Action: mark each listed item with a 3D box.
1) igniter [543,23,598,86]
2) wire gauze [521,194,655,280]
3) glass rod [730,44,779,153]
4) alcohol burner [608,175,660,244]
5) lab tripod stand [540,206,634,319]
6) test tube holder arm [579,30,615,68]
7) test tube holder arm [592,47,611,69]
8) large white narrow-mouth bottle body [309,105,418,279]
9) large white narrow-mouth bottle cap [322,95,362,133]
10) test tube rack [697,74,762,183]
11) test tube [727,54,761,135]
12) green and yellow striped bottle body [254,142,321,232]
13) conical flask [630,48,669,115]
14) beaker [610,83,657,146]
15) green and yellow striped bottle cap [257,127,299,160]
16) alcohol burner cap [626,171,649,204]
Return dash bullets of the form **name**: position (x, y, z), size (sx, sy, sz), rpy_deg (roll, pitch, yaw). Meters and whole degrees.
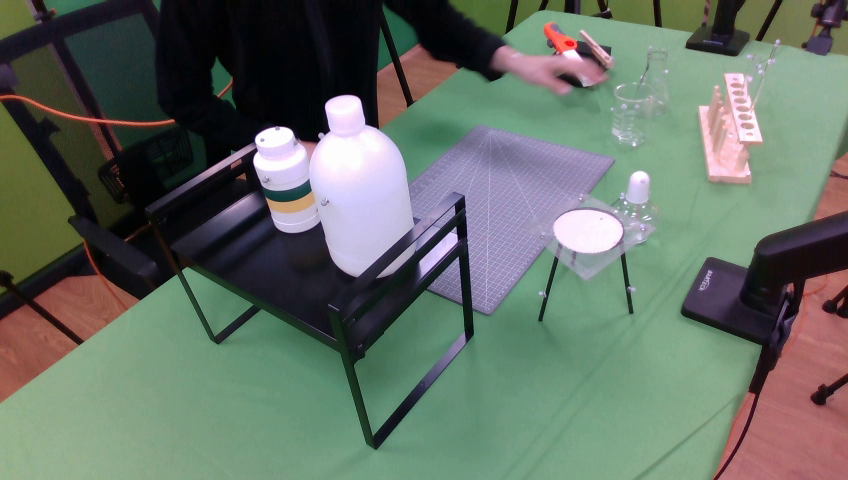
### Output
- **igniter**: position (0.320, -0.419, 1.345), size (0.057, 0.025, 0.274), rpy_deg (-12, 44, -3)
- **wire gauze**: position (0.207, -0.012, 0.772), size (0.122, 0.011, 0.124), rpy_deg (-28, 44, -20)
- **glass rod**: position (0.555, -0.234, 1.020), size (0.008, 0.200, 0.008), rpy_deg (2, 40, -1)
- **alcohol burner**: position (0.322, -0.053, 0.924), size (0.078, 0.119, 0.077), rpy_deg (-4, 43, 4)
- **lab tripod stand**: position (0.217, 0.034, 0.821), size (0.148, 0.132, 0.147), rpy_deg (-4, 42, 4)
- **test tube holder arm**: position (0.384, -0.428, 1.351), size (0.013, 0.015, 0.177), rpy_deg (-11, 41, -4)
- **test tube holder arm**: position (0.386, -0.398, 1.317), size (0.010, 0.015, 0.087), rpy_deg (-10, 41, -2)
- **large white narrow-mouth bottle body**: position (-0.068, -0.057, 0.644), size (0.102, 0.195, 0.101), rpy_deg (-6, 40, 5)
- **large white narrow-mouth bottle cap**: position (-0.080, -0.123, 0.589), size (0.038, 0.024, 0.037), rpy_deg (-5, 40, 5)
- **test tube rack**: position (0.547, -0.208, 1.094), size (0.066, 0.085, 0.242), rpy_deg (5, 42, 14)
- **test tube**: position (0.564, -0.254, 1.069), size (0.017, 0.151, 0.017), rpy_deg (-1, 40, 1)
- **green and yellow striped bottle body**: position (-0.165, -0.073, 0.732), size (0.063, 0.120, 0.063), rpy_deg (-4, 41, 4)
- **conical flask**: position (0.457, -0.317, 1.205), size (0.075, 0.122, 0.075), rpy_deg (-4, 41, 4)
- **beaker**: position (0.388, -0.235, 1.138), size (0.074, 0.101, 0.083), rpy_deg (-31, 46, -26)
- **green and yellow striped bottle cap**: position (-0.169, -0.112, 0.698), size (0.045, 0.020, 0.045), rpy_deg (-5, 40, 5)
- **alcohol burner cap**: position (0.320, -0.081, 0.900), size (0.034, 0.048, 0.033), rpy_deg (-4, 42, 4)
